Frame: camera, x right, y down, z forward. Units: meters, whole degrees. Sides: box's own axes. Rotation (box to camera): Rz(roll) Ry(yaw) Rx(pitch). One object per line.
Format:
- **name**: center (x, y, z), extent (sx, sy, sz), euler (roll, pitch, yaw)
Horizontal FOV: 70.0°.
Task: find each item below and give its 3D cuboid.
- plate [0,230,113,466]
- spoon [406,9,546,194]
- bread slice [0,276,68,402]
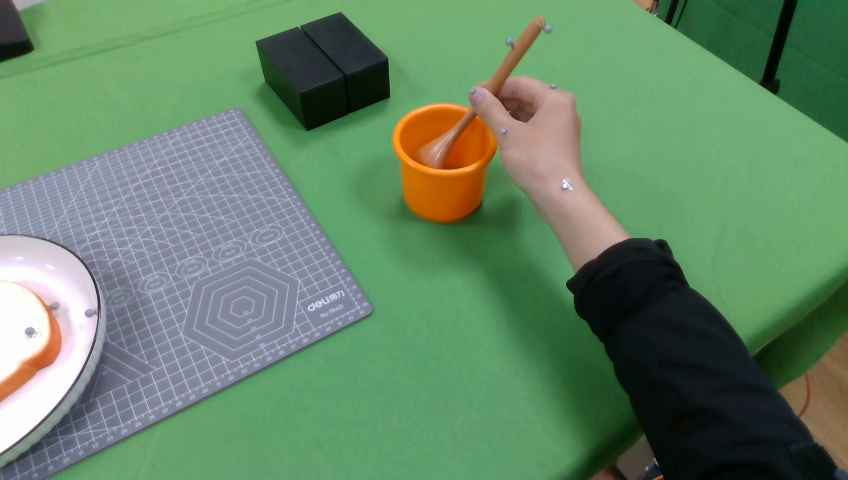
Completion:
- **plate**: center (-0.336, 0.084, 0.447), extent (0.209, 0.038, 0.207), euler (1, 53, -1)
- **spoon**: center (0.039, -0.114, 0.517), extent (0.022, 0.194, 0.041), euler (4, 45, -50)
- **bread slice**: center (-0.341, 0.083, 0.451), extent (0.104, 0.019, 0.131), euler (38, 63, 24)
